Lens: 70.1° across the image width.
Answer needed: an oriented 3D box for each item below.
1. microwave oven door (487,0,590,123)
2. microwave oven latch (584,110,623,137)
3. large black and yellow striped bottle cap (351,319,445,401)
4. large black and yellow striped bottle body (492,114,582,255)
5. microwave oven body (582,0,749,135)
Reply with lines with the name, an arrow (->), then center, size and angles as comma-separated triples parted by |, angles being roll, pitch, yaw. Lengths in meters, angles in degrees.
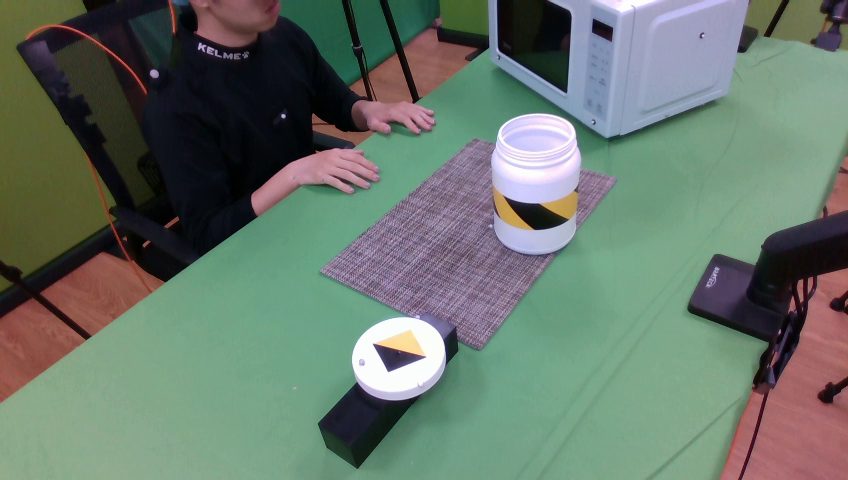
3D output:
microwave oven door -> 0.232, -0.420, 1.231 | 0.039, 0.245, 0.352 | -22, 43, -16
microwave oven latch -> 0.337, -0.222, 1.142 | 0.030, 0.029, 0.078 | -21, 42, -14
large black and yellow striped bottle cap -> -0.031, 0.143, 0.735 | 0.115, 0.019, 0.114 | -3, 40, 3
large black and yellow striped bottle body -> 0.169, -0.084, 0.912 | 0.131, 0.185, 0.130 | -4, 41, 4
microwave oven body -> 0.382, -0.444, 1.246 | 0.327, 0.261, 0.437 | -22, 42, -16
